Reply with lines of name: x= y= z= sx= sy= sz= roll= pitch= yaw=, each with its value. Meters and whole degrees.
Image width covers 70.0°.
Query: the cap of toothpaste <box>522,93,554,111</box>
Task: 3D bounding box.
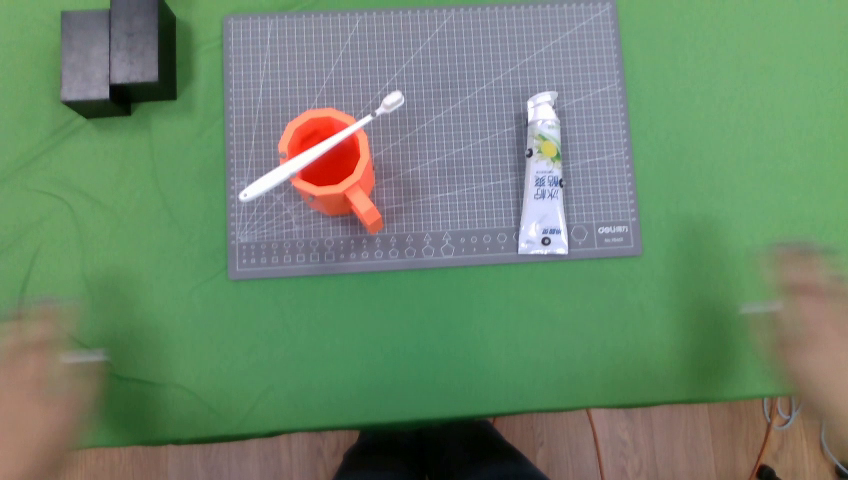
cap of toothpaste: x=0.127 y=-0.151 z=0.669 sx=0.037 sy=0.037 sz=0.011 roll=-12 pitch=79 yaw=-4

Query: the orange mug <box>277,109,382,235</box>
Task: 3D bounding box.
orange mug: x=-0.087 y=-0.062 z=0.619 sx=0.083 sy=0.101 sz=0.125 roll=-37 pitch=80 yaw=-7

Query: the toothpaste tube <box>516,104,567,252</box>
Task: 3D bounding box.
toothpaste tube: x=0.126 y=-0.069 z=0.664 sx=0.055 sy=0.034 sz=0.164 roll=-1 pitch=86 yaw=5

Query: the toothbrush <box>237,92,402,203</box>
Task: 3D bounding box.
toothbrush: x=-0.097 y=-0.087 z=0.570 sx=0.182 sy=0.016 sz=0.014 roll=-34 pitch=89 yaw=-6
